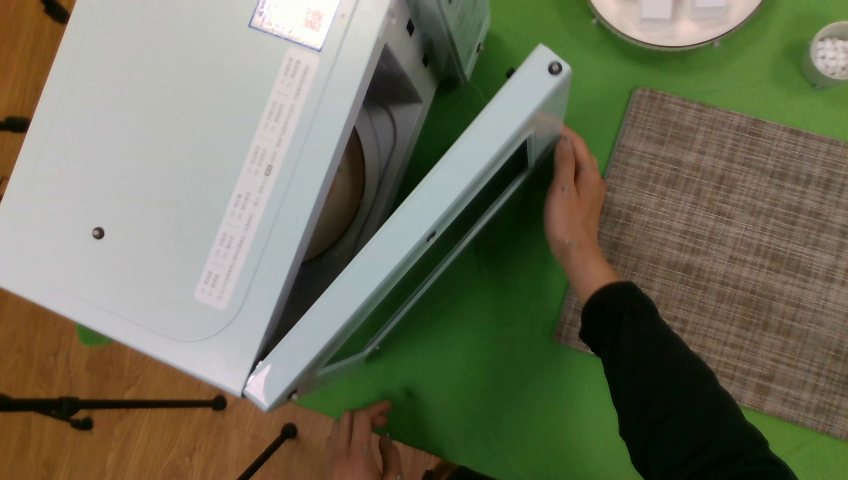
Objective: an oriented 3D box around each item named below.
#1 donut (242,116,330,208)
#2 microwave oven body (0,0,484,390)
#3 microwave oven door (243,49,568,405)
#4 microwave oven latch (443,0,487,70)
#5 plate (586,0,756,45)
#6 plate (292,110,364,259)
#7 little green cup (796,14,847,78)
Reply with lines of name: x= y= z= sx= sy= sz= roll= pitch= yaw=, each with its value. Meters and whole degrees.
donut: x=-0.149 y=-0.083 z=0.655 sx=0.099 sy=0.048 sz=0.099 roll=1 pitch=95 yaw=12
microwave oven body: x=-0.170 y=-0.126 z=0.617 sx=0.325 sy=0.261 sz=0.441 roll=21 pitch=92 yaw=10
microwave oven door: x=0.000 y=-0.002 z=0.579 sx=0.039 sy=0.244 sz=0.356 roll=43 pitch=95 yaw=10
microwave oven latch: x=0.045 y=-0.235 z=0.682 sx=0.030 sy=0.029 sz=0.079 roll=24 pitch=93 yaw=9
plate: x=0.271 y=-0.313 z=0.666 sx=0.207 sy=0.039 sz=0.207 roll=0 pitch=88 yaw=10
plate: x=-0.166 y=-0.078 z=0.669 sx=0.209 sy=0.038 sz=0.208 roll=-1 pitch=86 yaw=7
little green cup: x=0.426 y=-0.201 z=0.636 sx=0.061 sy=0.039 sz=0.061 roll=0 pitch=87 yaw=10
